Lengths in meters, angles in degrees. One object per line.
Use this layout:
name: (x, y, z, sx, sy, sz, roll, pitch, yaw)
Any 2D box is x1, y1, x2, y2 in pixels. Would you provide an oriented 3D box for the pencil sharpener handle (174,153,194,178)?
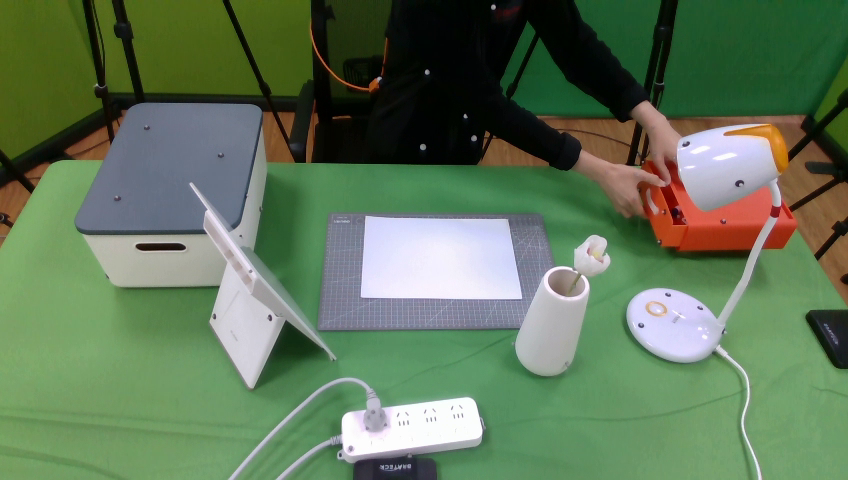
pencil sharpener handle: (-0.479, -0.156, 1.225, 0.036, 0.068, 0.030, 23, 47, 2)

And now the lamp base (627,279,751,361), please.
lamp base: (0.459, 0.100, 1.027, 0.178, 0.181, 0.160, 27, 51, 17)

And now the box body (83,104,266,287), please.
box body: (-0.447, -0.088, 1.150, 0.254, 0.161, 0.361, -1, 46, -5)

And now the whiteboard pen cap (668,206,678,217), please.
whiteboard pen cap: (0.493, -0.055, 1.215, 0.033, 0.018, 0.018, -26, 54, -23)

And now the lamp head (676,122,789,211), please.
lamp head: (0.423, -0.104, 0.819, 0.122, 0.113, 0.112, -13, 33, 40)

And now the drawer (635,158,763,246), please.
drawer: (0.552, -0.077, 1.212, 0.212, 0.073, 0.193, 1, 45, -3)

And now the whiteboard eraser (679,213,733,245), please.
whiteboard eraser: (0.560, -0.019, 1.207, 0.113, 0.042, 0.055, 11, 28, -35)

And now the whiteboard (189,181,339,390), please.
whiteboard: (-0.292, 0.096, 0.929, 0.144, 0.307, 0.216, -37, 57, -10)

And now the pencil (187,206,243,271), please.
pencil: (-0.401, -0.009, 1.176, 0.012, 0.012, 0.193, 15, 44, 10)

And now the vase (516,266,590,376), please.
vase: (0.208, 0.132, 0.964, 0.098, 0.201, 0.097, 3, 46, -3)

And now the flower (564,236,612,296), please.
flower: (0.206, 0.088, 0.892, 0.038, 0.363, 0.044, -17, 67, -10)

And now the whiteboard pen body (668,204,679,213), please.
whiteboard pen body: (0.542, -0.082, 1.236, 0.141, 0.017, 0.017, -26, 53, -26)

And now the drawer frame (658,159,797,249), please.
drawer frame: (0.586, -0.075, 1.216, 0.214, 0.083, 0.200, -1, 45, -2)

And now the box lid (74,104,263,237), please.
box lid: (-0.443, -0.139, 1.095, 0.263, 0.015, 0.369, -1, 45, -5)

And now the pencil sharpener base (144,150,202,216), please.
pencil sharpener base: (-0.493, -0.113, 1.199, 0.061, 0.107, 0.076, 14, 46, 12)

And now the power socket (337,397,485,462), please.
power socket: (-0.018, 0.285, 0.915, 0.227, 0.033, 0.071, -5, 46, -8)

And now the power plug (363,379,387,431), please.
power plug: (-0.072, 0.252, 0.910, 0.035, 0.053, 0.072, 3, 44, -1)
